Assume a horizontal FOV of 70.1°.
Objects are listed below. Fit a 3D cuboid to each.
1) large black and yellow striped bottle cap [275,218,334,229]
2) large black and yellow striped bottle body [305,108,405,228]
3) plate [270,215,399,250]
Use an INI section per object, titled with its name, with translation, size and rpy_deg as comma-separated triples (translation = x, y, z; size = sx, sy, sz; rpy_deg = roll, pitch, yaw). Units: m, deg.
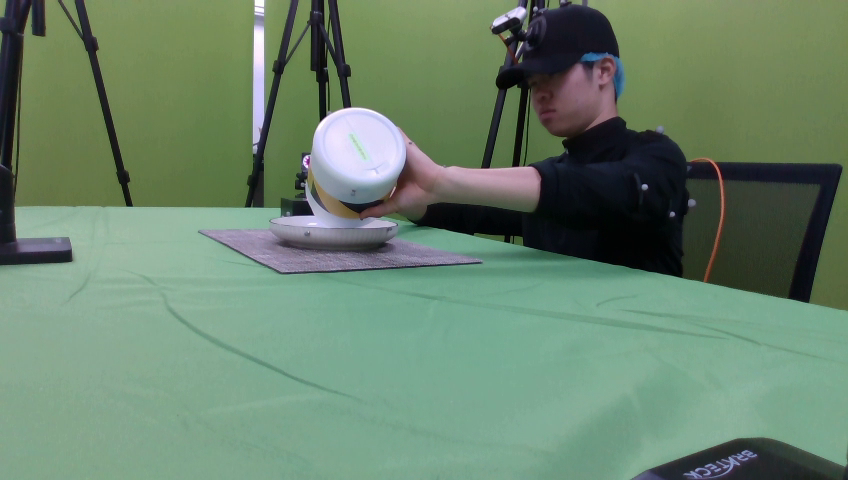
[large black and yellow striped bottle cap]
translation = -0.236, -0.033, 1.197
size = 0.115, 0.019, 0.115
rpy_deg = 2, 3, 0
[large black and yellow striped bottle body]
translation = -0.110, -0.096, 0.911
size = 0.131, 0.130, 0.183
rpy_deg = 1, -23, -16
[plate]
translation = -0.145, -0.013, 0.992
size = 0.208, 0.039, 0.207
rpy_deg = 2, 7, 0
